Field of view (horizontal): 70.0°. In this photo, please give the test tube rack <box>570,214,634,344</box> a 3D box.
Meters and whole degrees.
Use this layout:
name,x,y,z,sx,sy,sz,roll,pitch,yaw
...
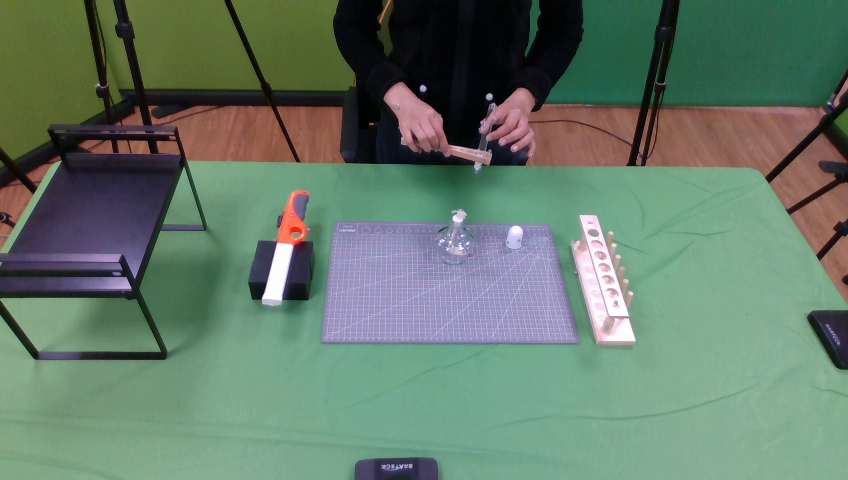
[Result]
name,x,y,z,sx,sy,sz,roll,pitch,yaw
test tube rack,0.333,0.067,1.116,0.067,0.085,0.241,1,46,-3

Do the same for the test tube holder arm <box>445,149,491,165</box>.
name,x,y,z,sx,sy,sz,roll,pitch,yaw
test tube holder arm,0.085,-0.162,1.162,0.088,0.015,0.010,15,55,4

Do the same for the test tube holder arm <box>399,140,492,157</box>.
name,x,y,z,sx,sy,sz,roll,pitch,yaw
test tube holder arm,0.041,-0.174,1.166,0.178,0.015,0.013,7,54,-1

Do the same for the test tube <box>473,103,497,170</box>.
name,x,y,z,sx,sy,sz,roll,pitch,yaw
test tube,0.112,-0.190,1.134,0.017,0.151,0.017,6,46,-6

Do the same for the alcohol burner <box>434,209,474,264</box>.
name,x,y,z,sx,sy,sz,roll,pitch,yaw
alcohol burner,0.058,-0.012,1.147,0.078,0.119,0.077,3,44,-3

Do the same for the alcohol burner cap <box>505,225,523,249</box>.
name,x,y,z,sx,sy,sz,roll,pitch,yaw
alcohol burner cap,0.180,-0.009,1.203,0.034,0.048,0.033,2,47,-2

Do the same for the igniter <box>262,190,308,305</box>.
name,x,y,z,sx,sy,sz,roll,pitch,yaw
igniter,-0.252,0.004,1.107,0.057,0.025,0.275,7,47,-6
